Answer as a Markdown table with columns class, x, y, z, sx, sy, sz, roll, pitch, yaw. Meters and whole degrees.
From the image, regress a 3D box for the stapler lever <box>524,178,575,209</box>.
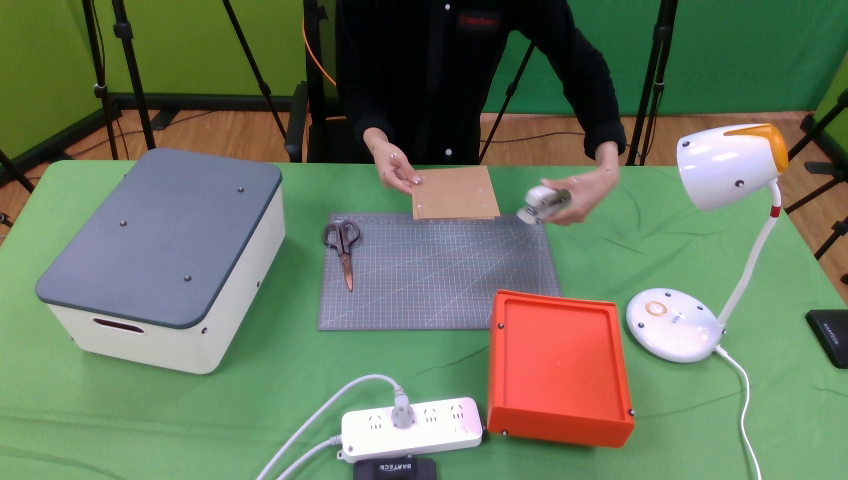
| class | x | y | z | sx | sy | sz | roll | pitch | yaw |
| --- | --- | --- | --- | --- | --- | --- | --- | --- | --- |
| stapler lever | 0.230 | -0.091 | 1.100 | 0.118 | 0.040 | 0.026 | -26 | 53 | -30 |

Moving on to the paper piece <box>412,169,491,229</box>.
| class | x | y | z | sx | sy | sz | roll | pitch | yaw |
| --- | --- | --- | --- | --- | --- | --- | --- | --- | --- |
| paper piece | 0.046 | -0.072 | 1.044 | 0.135 | 0.004 | 0.135 | 7 | 45 | -7 |

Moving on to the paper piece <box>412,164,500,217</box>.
| class | x | y | z | sx | sy | sz | roll | pitch | yaw |
| --- | --- | --- | --- | --- | --- | --- | --- | --- | --- |
| paper piece | 0.053 | -0.086 | 1.042 | 0.136 | 0.009 | 0.137 | -1 | 44 | -7 |

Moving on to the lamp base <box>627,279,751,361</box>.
| class | x | y | z | sx | sy | sz | roll | pitch | yaw |
| --- | --- | --- | --- | --- | --- | --- | --- | --- | --- |
| lamp base | 0.460 | 0.100 | 1.027 | 0.178 | 0.181 | 0.160 | 27 | 51 | 17 |

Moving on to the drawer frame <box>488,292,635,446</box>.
| class | x | y | z | sx | sy | sz | roll | pitch | yaw |
| --- | --- | --- | --- | --- | --- | --- | --- | --- | --- |
| drawer frame | 0.204 | 0.191 | 0.931 | 0.202 | 0.083 | 0.212 | 7 | 45 | 2 |

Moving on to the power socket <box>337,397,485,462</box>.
| class | x | y | z | sx | sy | sz | roll | pitch | yaw |
| --- | --- | --- | --- | --- | --- | --- | --- | --- | --- |
| power socket | -0.018 | 0.285 | 0.915 | 0.227 | 0.033 | 0.071 | -4 | 46 | -8 |

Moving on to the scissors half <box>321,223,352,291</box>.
| class | x | y | z | sx | sy | sz | roll | pitch | yaw |
| --- | --- | --- | --- | --- | --- | --- | --- | --- | --- |
| scissors half | -0.163 | 0.031 | 1.160 | 0.040 | 0.013 | 0.174 | -18 | 51 | -12 |

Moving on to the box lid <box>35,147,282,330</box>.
| class | x | y | z | sx | sy | sz | roll | pitch | yaw |
| --- | --- | --- | --- | --- | --- | --- | --- | --- | --- |
| box lid | -0.411 | -0.023 | 0.987 | 0.263 | 0.015 | 0.369 | 10 | 47 | 5 |

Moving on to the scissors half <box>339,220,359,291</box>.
| class | x | y | z | sx | sy | sz | roll | pitch | yaw |
| --- | --- | --- | --- | --- | --- | --- | --- | --- | --- |
| scissors half | -0.144 | 0.026 | 1.162 | 0.040 | 0.013 | 0.174 | -8 | 51 | 2 |

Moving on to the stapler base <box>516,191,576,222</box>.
| class | x | y | z | sx | sy | sz | roll | pitch | yaw |
| --- | --- | --- | --- | --- | --- | --- | --- | --- | --- |
| stapler base | 0.227 | -0.072 | 1.115 | 0.130 | 0.024 | 0.041 | -25 | 53 | -30 |

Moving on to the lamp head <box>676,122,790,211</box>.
| class | x | y | z | sx | sy | sz | roll | pitch | yaw |
| --- | --- | --- | --- | --- | --- | --- | --- | --- | --- |
| lamp head | 0.423 | -0.104 | 0.819 | 0.122 | 0.113 | 0.112 | -13 | 33 | 40 |

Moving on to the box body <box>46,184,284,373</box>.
| class | x | y | z | sx | sy | sz | roll | pitch | yaw |
| --- | --- | --- | --- | --- | --- | --- | --- | --- | --- |
| box body | -0.414 | 0.029 | 1.039 | 0.254 | 0.161 | 0.362 | 10 | 46 | 5 |

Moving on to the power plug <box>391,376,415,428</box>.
| class | x | y | z | sx | sy | sz | roll | pitch | yaw |
| --- | --- | --- | --- | --- | --- | --- | --- | --- | --- |
| power plug | -0.030 | 0.249 | 0.917 | 0.035 | 0.053 | 0.072 | 3 | 46 | -1 |

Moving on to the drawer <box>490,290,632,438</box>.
| class | x | y | z | sx | sy | sz | roll | pitch | yaw |
| --- | --- | --- | --- | --- | --- | --- | --- | --- | --- |
| drawer | 0.203 | 0.185 | 0.934 | 0.194 | 0.073 | 0.210 | 7 | 47 | 1 |
